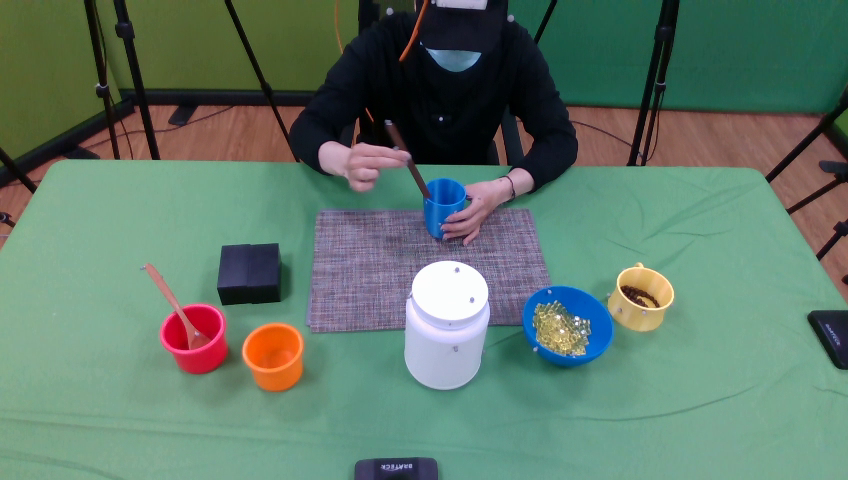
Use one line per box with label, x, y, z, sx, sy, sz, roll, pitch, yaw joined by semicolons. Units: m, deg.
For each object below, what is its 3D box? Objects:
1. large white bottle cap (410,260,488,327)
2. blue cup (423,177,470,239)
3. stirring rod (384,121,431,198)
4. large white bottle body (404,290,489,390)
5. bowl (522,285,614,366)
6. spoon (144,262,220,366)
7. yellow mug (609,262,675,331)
large white bottle cap;0.037;0.077;0.893;0.115;0.018;0.114;2;47;-2
blue cup;0.037;-0.058;1.194;0.093;0.101;0.092;2;44;-2
stirring rod;-0.027;-0.137;1.061;0.014;0.177;0.006;-24;40;9
large white bottle body;0.034;0.136;0.955;0.131;0.185;0.130;2;46;-2
bowl;0.235;0.158;1.022;0.151;0.077;0.150;2;46;-2
spoon;-0.389;0.118;0.971;0.041;0.021;0.194;-34;101;-33
yellow mug;0.393;0.094;1.103;0.100;0.064;0.130;7;45;4
